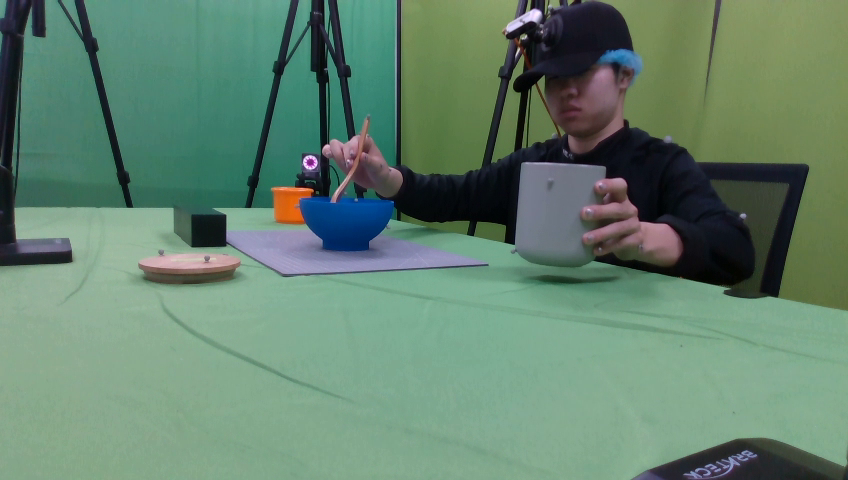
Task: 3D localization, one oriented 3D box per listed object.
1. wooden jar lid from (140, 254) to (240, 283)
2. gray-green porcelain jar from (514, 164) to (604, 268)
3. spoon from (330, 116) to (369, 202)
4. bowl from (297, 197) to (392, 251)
[{"bbox_3d":[-0.269,0.032,0.698,0.108,0.020,0.108,2,5,0],"label":"wooden jar lid"},{"bbox_3d":[0.170,-0.032,0.770,0.106,0.126,0.106,3,7,0],"label":"gray-green porcelain jar"},{"bbox_3d":[-0.120,-0.115,0.982,0.021,0.193,0.041,20,-15,2],"label":"spoon"},{"bbox_3d":[-0.126,-0.026,0.957,0.151,0.077,0.151,2,7,0],"label":"bowl"}]
